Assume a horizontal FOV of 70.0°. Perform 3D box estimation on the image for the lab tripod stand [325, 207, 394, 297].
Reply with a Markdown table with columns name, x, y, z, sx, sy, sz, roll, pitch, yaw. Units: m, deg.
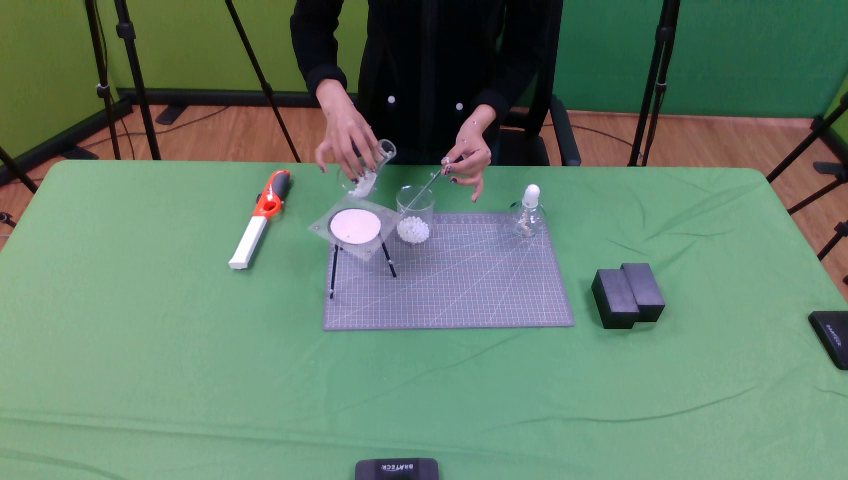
| name | x | y | z | sx | sy | sz | roll | pitch | yaw |
| --- | --- | --- | --- | --- | --- | --- | --- | --- | --- |
| lab tripod stand | -0.124 | 0.017 | 1.092 | 0.148 | 0.132 | 0.147 | 3 | 44 | -3 |

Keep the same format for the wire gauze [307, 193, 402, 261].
| name | x | y | z | sx | sy | sz | roll | pitch | yaw |
| --- | --- | --- | --- | --- | --- | --- | --- | --- | --- |
| wire gauze | -0.119 | -0.028 | 1.043 | 0.125 | 0.011 | 0.121 | 24 | 47 | 17 |

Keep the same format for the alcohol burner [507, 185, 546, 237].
| name | x | y | z | sx | sy | sz | roll | pitch | yaw |
| --- | --- | --- | --- | --- | --- | --- | --- | --- | --- |
| alcohol burner | 0.208 | -0.063 | 1.210 | 0.078 | 0.119 | 0.077 | 3 | 44 | -3 |

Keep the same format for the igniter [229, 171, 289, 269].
| name | x | y | z | sx | sy | sz | roll | pitch | yaw |
| --- | --- | --- | --- | --- | --- | --- | --- | --- | --- |
| igniter | -0.328 | -0.049 | 1.218 | 0.057 | 0.025 | 0.275 | 0 | 45 | 10 |

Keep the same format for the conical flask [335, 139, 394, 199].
| name | x | y | z | sx | sy | sz | roll | pitch | yaw |
| --- | --- | --- | --- | --- | --- | --- | --- | --- | --- |
| conical flask | -0.102 | -0.134 | 1.098 | 0.075 | 0.122 | 0.075 | 24 | 46 | -28 |

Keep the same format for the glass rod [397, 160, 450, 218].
| name | x | y | z | sx | sy | sz | roll | pitch | yaw |
| --- | --- | --- | --- | --- | --- | --- | --- | --- | --- |
| glass rod | -0.005 | -0.093 | 1.128 | 0.008 | 0.200 | 0.008 | 16 | 55 | -24 |

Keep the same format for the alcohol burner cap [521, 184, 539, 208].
| name | x | y | z | sx | sy | sz | roll | pitch | yaw |
| --- | --- | --- | --- | --- | --- | --- | --- | --- | --- |
| alcohol burner cap | 0.210 | -0.087 | 1.183 | 0.034 | 0.048 | 0.033 | 0 | 53 | 0 |

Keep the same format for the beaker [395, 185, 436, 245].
| name | x | y | z | sx | sy | sz | roll | pitch | yaw |
| --- | --- | --- | --- | --- | --- | --- | --- | --- | --- |
| beaker | -0.022 | -0.048 | 1.187 | 0.074 | 0.101 | 0.083 | -28 | 53 | -28 |
